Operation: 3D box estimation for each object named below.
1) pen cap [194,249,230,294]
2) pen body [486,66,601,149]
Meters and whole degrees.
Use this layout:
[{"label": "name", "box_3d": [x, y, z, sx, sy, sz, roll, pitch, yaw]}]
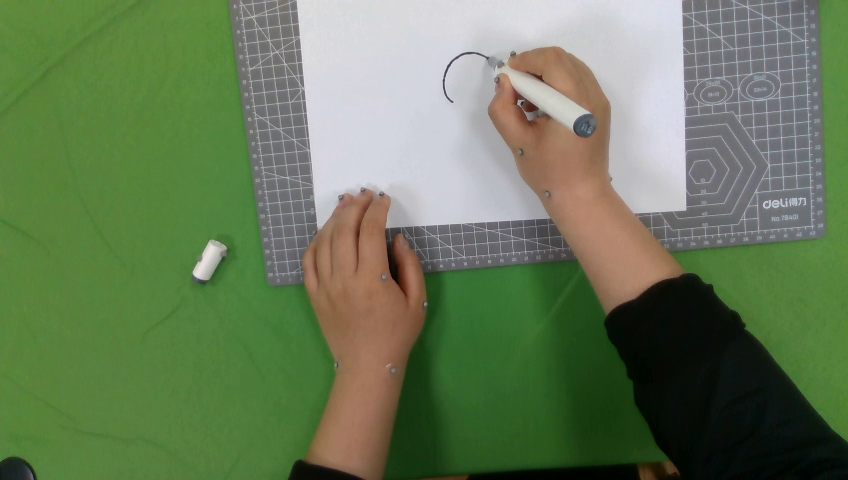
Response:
[{"label": "pen cap", "box_3d": [-0.181, 0.027, 0.514, 0.017, 0.017, 0.038, 32, 98, 2]}, {"label": "pen body", "box_3d": [0.076, -0.098, 0.423, 0.017, 0.142, 0.017, -13, 127, -18]}]
